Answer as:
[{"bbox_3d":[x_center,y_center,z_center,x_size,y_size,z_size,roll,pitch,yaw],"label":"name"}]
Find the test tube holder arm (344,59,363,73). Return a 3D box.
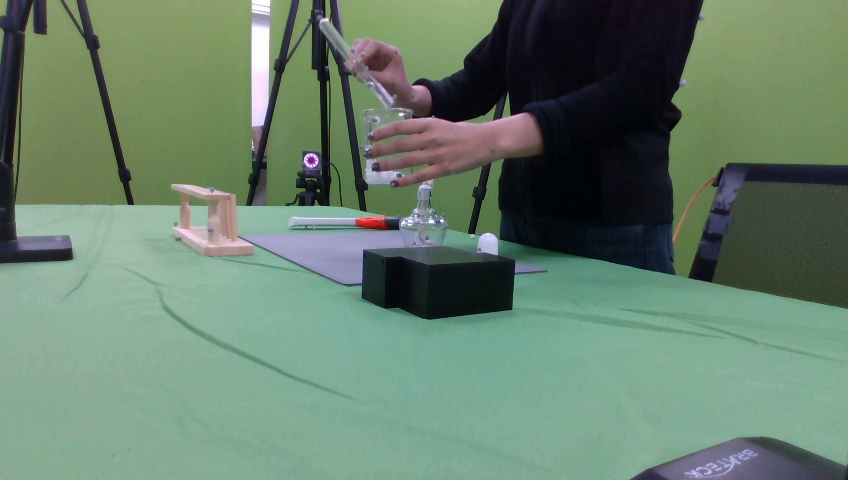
[{"bbox_3d":[-0.098,-0.246,0.858,0.015,0.010,0.088,44,13,-5],"label":"test tube holder arm"}]

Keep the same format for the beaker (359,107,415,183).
[{"bbox_3d":[-0.052,-0.129,0.832,0.083,0.100,0.074,1,6,27],"label":"beaker"}]

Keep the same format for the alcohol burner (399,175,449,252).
[{"bbox_3d":[0.000,-0.041,0.937,0.078,0.119,0.078,0,7,0],"label":"alcohol burner"}]

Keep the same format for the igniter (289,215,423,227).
[{"bbox_3d":[-0.133,-0.038,1.232,0.278,0.025,0.057,-1,-2,-25],"label":"igniter"}]

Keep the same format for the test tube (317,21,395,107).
[{"bbox_3d":[-0.095,-0.243,0.834,0.017,0.150,0.017,-43,2,2],"label":"test tube"}]

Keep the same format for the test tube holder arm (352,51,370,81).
[{"bbox_3d":[-0.093,-0.257,0.901,0.015,0.013,0.178,45,5,-5],"label":"test tube holder arm"}]

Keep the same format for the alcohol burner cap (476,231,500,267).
[{"bbox_3d":[0.088,0.012,0.830,0.034,0.048,0.034,2,7,0],"label":"alcohol burner cap"}]

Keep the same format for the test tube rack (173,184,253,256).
[{"bbox_3d":[-0.329,-0.036,0.927,0.067,0.085,0.241,-2,9,-32],"label":"test tube rack"}]
